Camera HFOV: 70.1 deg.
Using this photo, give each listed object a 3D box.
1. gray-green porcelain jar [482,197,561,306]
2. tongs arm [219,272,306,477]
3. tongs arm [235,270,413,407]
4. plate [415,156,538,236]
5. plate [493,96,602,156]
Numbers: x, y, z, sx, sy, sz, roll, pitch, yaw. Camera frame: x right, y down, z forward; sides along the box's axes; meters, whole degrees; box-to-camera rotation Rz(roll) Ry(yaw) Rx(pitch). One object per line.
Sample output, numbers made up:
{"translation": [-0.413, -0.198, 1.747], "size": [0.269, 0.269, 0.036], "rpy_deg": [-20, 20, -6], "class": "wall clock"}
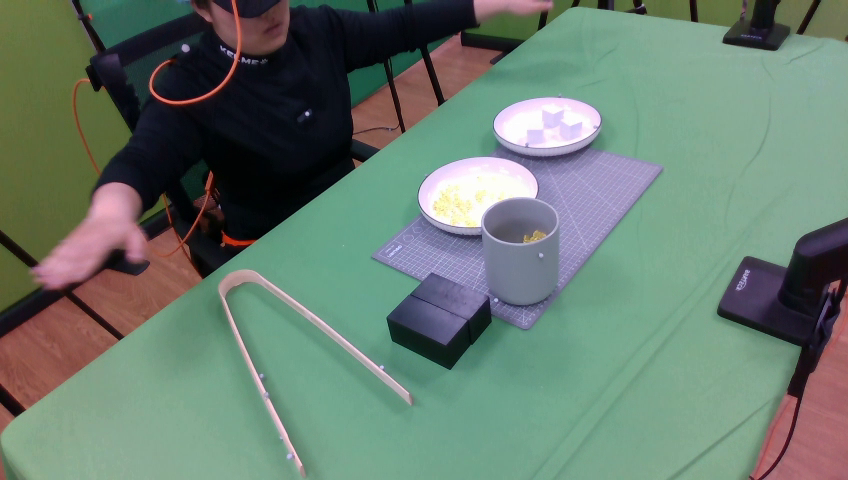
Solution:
{"translation": [0.137, 0.020, 0.846], "size": [0.106, 0.127, 0.105], "rpy_deg": [-5, 40, 5], "class": "gray-green porcelain jar"}
{"translation": [-0.218, 0.161, 0.822], "size": [0.051, 0.026, 0.381], "rpy_deg": [-26, 42, -21], "class": "tongs arm"}
{"translation": [-0.153, 0.127, 0.858], "size": [0.384, 0.028, 0.028], "rpy_deg": [28, 54, 36], "class": "tongs arm"}
{"translation": [0.090, -0.072, 1.034], "size": [0.207, 0.039, 0.206], "rpy_deg": [-5, 40, 5], "class": "plate"}
{"translation": [0.238, -0.218, 1.179], "size": [0.209, 0.038, 0.208], "rpy_deg": [-4, 39, 4], "class": "plate"}
